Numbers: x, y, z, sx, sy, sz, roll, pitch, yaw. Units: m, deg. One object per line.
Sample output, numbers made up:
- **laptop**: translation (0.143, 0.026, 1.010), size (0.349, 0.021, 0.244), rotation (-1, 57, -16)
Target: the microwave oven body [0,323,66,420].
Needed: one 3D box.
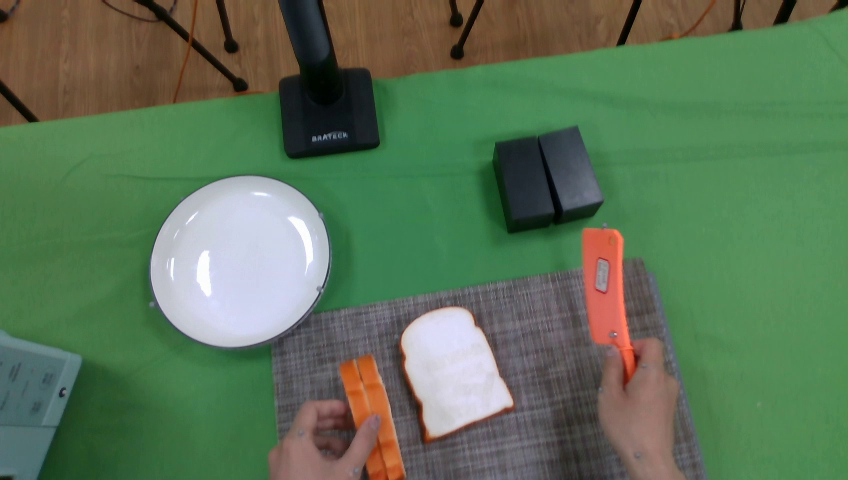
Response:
- **microwave oven body**: translation (-0.588, 0.253, 0.523), size (0.326, 0.261, 0.439), rotation (12, 74, 4)

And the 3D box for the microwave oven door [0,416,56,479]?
- **microwave oven door**: translation (-0.455, 0.321, 0.496), size (0.039, 0.245, 0.354), rotation (12, 73, 5)

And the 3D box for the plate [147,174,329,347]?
- **plate**: translation (-0.213, 0.024, 0.712), size (0.208, 0.039, 0.206), rotation (0, 73, 0)

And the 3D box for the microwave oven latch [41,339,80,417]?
- **microwave oven latch**: translation (-0.403, 0.149, 0.655), size (0.030, 0.029, 0.079), rotation (14, 74, 4)

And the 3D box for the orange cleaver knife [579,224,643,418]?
- **orange cleaver knife**: translation (0.196, 0.081, 0.650), size (0.012, 0.077, 0.210), rotation (-2, 80, -21)

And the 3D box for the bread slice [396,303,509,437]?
- **bread slice**: translation (0.029, 0.140, 0.683), size (0.107, 0.018, 0.134), rotation (-16, 82, -10)
